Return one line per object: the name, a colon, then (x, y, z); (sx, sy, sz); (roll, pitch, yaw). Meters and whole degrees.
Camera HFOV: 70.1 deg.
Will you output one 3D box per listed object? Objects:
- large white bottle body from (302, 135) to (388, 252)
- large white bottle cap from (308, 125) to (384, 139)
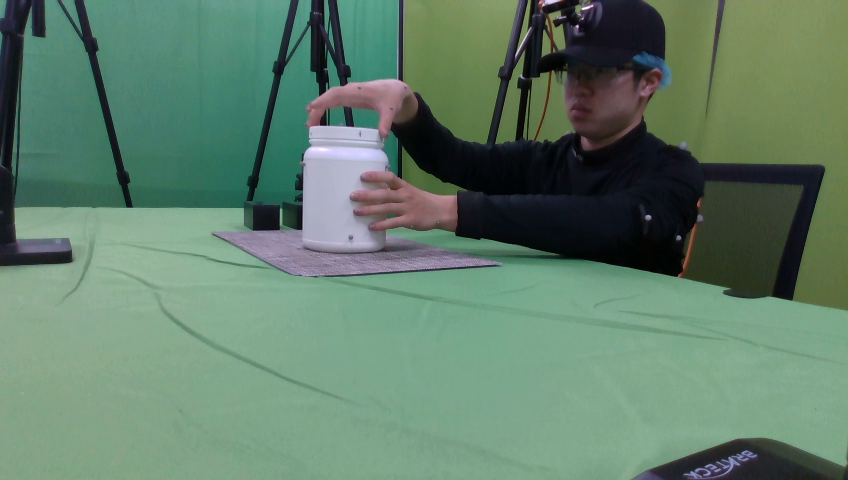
large white bottle body: (-0.122, -0.080, 0.938); (0.131, 0.184, 0.130); (2, 7, 0)
large white bottle cap: (-0.119, -0.164, 0.927); (0.115, 0.018, 0.115); (1, 7, 0)
